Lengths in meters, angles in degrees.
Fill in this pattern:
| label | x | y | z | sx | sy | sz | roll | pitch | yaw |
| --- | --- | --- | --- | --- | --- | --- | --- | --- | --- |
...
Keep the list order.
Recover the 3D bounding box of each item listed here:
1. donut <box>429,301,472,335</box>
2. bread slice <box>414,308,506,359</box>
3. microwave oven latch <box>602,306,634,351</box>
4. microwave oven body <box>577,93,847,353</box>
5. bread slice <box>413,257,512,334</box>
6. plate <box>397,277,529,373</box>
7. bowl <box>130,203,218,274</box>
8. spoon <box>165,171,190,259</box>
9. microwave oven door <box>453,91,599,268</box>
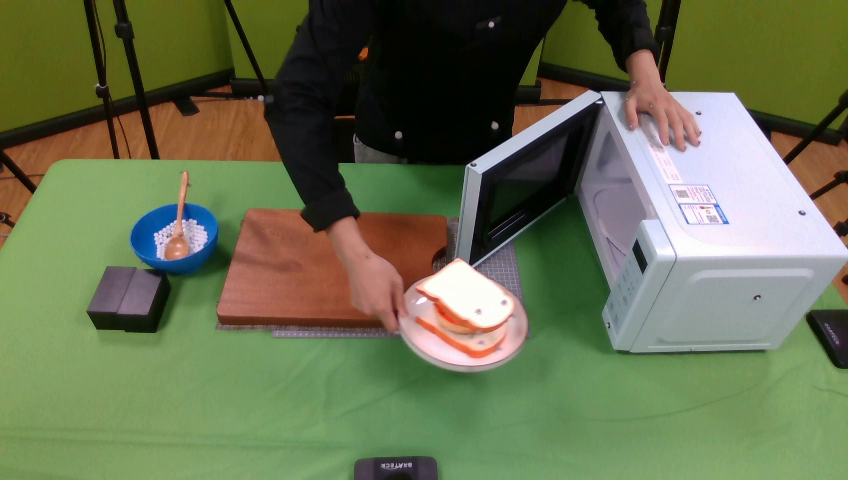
| label | x | y | z | sx | sy | sz | roll | pitch | yaw |
| --- | --- | --- | --- | --- | --- | --- | --- | --- | --- |
| donut | 0.057 | 0.106 | 0.946 | 0.099 | 0.048 | 0.098 | -3 | 40 | 3 |
| bread slice | 0.066 | 0.133 | 0.963 | 0.131 | 0.019 | 0.105 | 29 | 45 | 30 |
| microwave oven latch | 0.332 | 0.153 | 1.044 | 0.030 | 0.029 | 0.078 | 0 | 45 | -4 |
| microwave oven body | 0.475 | -0.041 | 1.109 | 0.326 | 0.261 | 0.438 | -1 | 45 | -4 |
| bread slice | 0.067 | 0.086 | 0.924 | 0.134 | 0.018 | 0.107 | 34 | 44 | 21 |
| plate | 0.059 | 0.132 | 0.959 | 0.208 | 0.039 | 0.206 | 4 | 38 | -3 |
| bowl | -0.450 | 0.010 | 1.116 | 0.151 | 0.077 | 0.150 | 3 | 45 | -2 |
| spoon | -0.452 | -0.046 | 1.129 | 0.041 | 0.022 | 0.193 | -1 | 69 | -2 |
| microwave oven door | 0.197 | -0.115 | 1.153 | 0.356 | 0.245 | 0.039 | -34 | 57 | -31 |
